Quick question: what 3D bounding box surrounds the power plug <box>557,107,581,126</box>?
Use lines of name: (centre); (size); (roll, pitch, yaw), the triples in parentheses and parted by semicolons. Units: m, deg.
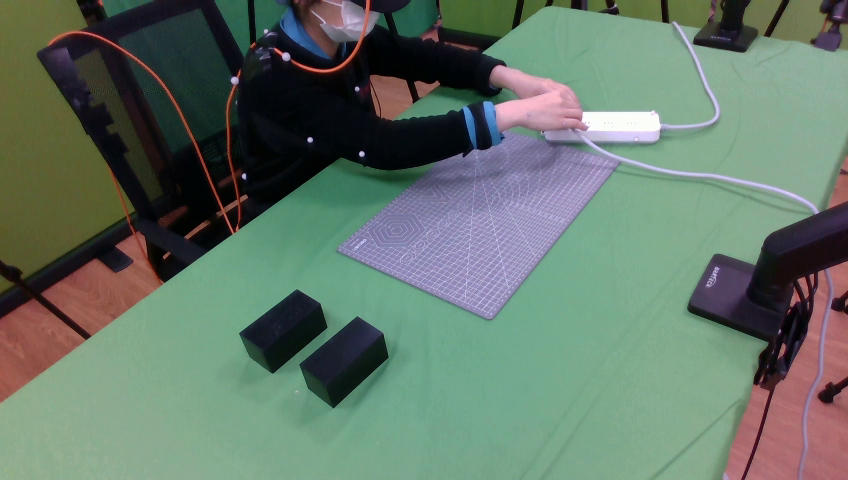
power plug: (0.287, -0.238, 1.162); (0.073, 0.035, 0.052); (-14, 29, -42)

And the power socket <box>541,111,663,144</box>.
power socket: (0.341, -0.217, 1.164); (0.226, 0.033, 0.072); (4, 43, 12)
